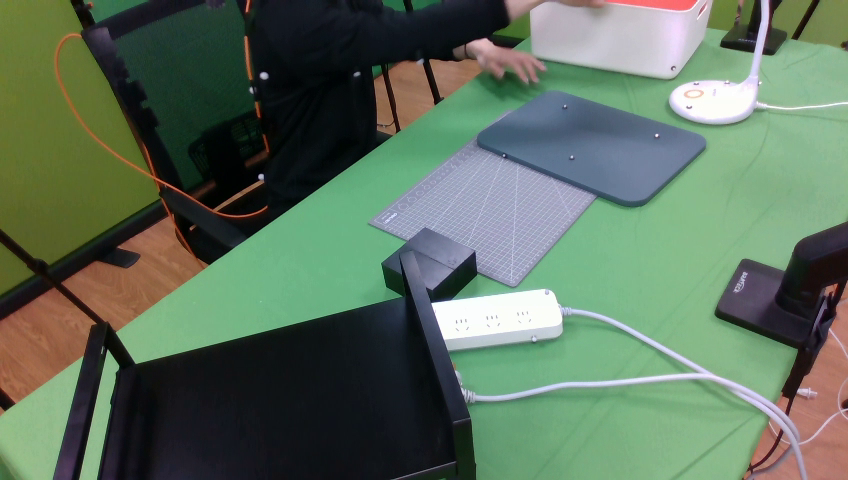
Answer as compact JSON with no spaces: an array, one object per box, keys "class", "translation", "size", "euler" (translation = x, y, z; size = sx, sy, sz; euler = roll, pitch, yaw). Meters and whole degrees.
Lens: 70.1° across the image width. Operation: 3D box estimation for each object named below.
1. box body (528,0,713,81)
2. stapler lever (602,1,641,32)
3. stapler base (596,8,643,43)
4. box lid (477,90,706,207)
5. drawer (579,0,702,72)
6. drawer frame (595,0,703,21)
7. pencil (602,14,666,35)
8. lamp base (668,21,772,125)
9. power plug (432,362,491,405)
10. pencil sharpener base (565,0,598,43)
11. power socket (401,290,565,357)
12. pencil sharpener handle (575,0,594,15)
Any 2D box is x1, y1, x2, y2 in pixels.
[{"class":"box body","translation":[0.450,-0.512,1.398],"size":[0.361,0.161,0.254],"euler":[19,48,28]},{"class":"stapler lever","translation":[0.451,-0.516,1.378],"size":[0.118,0.040,0.026],"euler":[-39,63,-18]},{"class":"stapler base","translation":[0.453,-0.502,1.397],"size":[0.131,0.024,0.041],"euler":[-39,63,-19]},{"class":"box lid","translation":[0.310,-0.190,1.157],"size":[0.368,0.015,0.264],"euler":[30,52,35]},{"class":"drawer","translation":[0.484,-0.488,1.362],"size":[0.210,0.073,0.194],"euler":[25,63,20]},{"class":"drawer frame","translation":[0.487,-0.490,1.360],"size":[0.212,0.083,0.202],"euler":[24,62,20]},{"class":"pencil","translation":[0.483,-0.494,1.388],"size":[0.195,0.012,0.012],"euler":[-22,42,-20]},{"class":"lamp base","translation":[0.577,-0.333,1.155],"size":[0.179,0.181,0.160],"euler":[6,42,12]},{"class":"power plug","translation":[0.045,0.182,0.758],"size":[0.073,0.035,0.052],"euler":[21,43,-18]},{"class":"pencil sharpener base","translation":[0.388,-0.549,1.484],"size":[0.061,0.107,0.077],"euler":[14,44,23]},{"class":"power socket","translation":[0.080,0.112,0.821],"size":[0.227,0.033,0.072],"euler":[-7,41,0]},{"class":"pencil sharpener handle","translation":[0.401,-0.594,1.511],"size":[0.036,0.067,0.030],"euler":[37,49,-1]}]
